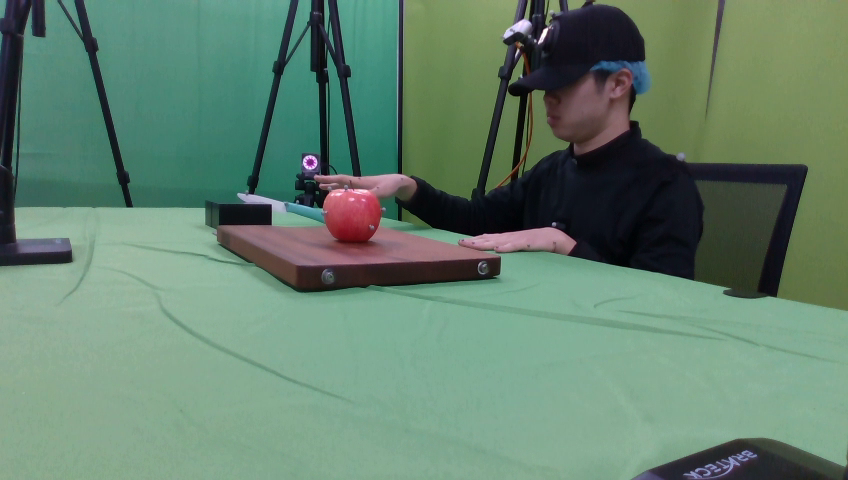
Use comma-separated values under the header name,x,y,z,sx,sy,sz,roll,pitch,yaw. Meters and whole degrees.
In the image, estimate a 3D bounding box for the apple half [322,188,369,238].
name,x,y,z,sx,sy,sz,roll,pitch,yaw
apple half,-0.119,-0.040,0.868,0.082,0.081,0.032,-4,13,-41

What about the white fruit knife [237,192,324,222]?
name,x,y,z,sx,sy,sz,roll,pitch,yaw
white fruit knife,-0.286,-0.069,1.251,0.208,0.027,0.016,14,-1,-34

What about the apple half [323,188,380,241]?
name,x,y,z,sx,sy,sz,roll,pitch,yaw
apple half,-0.094,-0.034,0.839,0.081,0.074,0.053,1,11,-41
